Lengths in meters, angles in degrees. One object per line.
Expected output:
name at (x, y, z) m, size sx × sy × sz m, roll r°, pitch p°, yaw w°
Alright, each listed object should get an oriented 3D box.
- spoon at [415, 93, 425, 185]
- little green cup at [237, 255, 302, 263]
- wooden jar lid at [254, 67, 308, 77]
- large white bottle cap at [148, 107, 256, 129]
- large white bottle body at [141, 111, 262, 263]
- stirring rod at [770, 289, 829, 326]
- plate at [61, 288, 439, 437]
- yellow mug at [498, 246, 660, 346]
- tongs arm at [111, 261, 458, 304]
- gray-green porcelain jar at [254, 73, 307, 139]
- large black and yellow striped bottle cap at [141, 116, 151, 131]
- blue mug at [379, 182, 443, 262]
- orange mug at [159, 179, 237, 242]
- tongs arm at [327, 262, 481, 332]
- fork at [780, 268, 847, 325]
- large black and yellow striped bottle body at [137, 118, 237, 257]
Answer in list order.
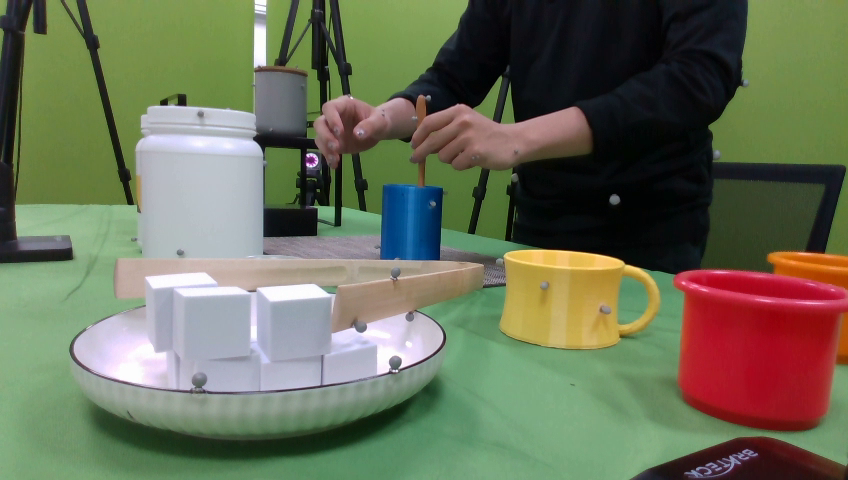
spoon at (-0.007, -0.092, 0.792) m, size 0.041 × 0.193 × 0.022 m, roll 6°, pitch 10°, yaw 24°
little green cup at (-0.150, 0.038, 0.590) m, size 0.061 × 0.038 × 0.061 m, roll 3°, pitch 6°, yaw 0°
wooden jar lid at (-0.296, -0.339, 1.251) m, size 0.108 × 0.020 × 0.108 m, roll 2°, pitch 7°, yaw 0°
large white bottle cap at (-0.250, -0.137, 0.686) m, size 0.115 × 0.018 × 0.115 m, roll 3°, pitch 8°, yaw 0°
large white bottle body at (-0.254, -0.054, 0.697) m, size 0.131 × 0.184 × 0.130 m, roll 2°, pitch 7°, yaw 0°
stirring rod at (0.349, 0.022, 0.468) m, size 0.014 × 0.006 × 0.175 m, roll -12°, pitch -26°, yaw -50°
plate at (-0.095, 0.069, 0.362) m, size 0.208 × 0.039 × 0.207 m, roll 3°, pitch 7°, yaw 0°
yellow mug at (0.130, 0.045, 0.508) m, size 0.131 × 0.064 × 0.100 m, roll 4°, pitch 7°, yaw 6°
tongs arm at (-0.080, 0.032, 0.527) m, size 0.028 × 0.027 × 0.389 m, roll -3°, pitch -3°, yaw 33°
gray-green porcelain jar at (-0.298, -0.277, 1.259) m, size 0.106 × 0.126 × 0.106 m, roll 3°, pitch 7°, yaw 0°
large black and yellow striped bottle cap at (-0.328, -0.158, 0.837) m, size 0.115 × 0.019 × 0.115 m, roll 2°, pitch 6°, yaw 0°
blue mug at (-0.019, -0.026, 0.833) m, size 0.082 × 0.106 × 0.116 m, roll 1°, pitch 7°, yaw -5°
orange mug at (-0.368, -0.051, 0.991) m, size 0.127 × 0.101 × 0.083 m, roll -10°, pitch 14°, yaw -41°
tongs arm at (-0.003, 0.036, 0.493) m, size 0.050 × 0.026 × 0.386 m, roll 1°, pitch 0°, yaw 19°
fork at (0.324, 0.018, 0.441) m, size 0.028 × 0.018 × 0.207 m, roll -3°, pitch -36°, yaw -5°
large black and yellow striped bottle body at (-0.330, -0.075, 0.849) m, size 0.131 × 0.184 × 0.130 m, roll 2°, pitch 8°, yaw 0°
